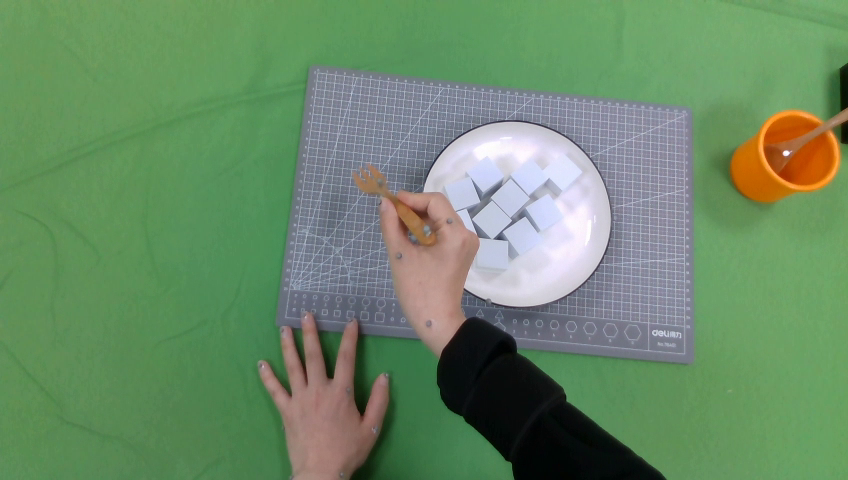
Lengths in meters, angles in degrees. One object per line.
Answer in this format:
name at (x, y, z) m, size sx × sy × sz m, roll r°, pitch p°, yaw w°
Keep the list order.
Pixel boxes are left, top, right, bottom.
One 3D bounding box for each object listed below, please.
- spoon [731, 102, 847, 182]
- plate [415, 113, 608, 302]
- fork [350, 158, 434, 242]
spoon at (0.424, -0.123, 0.648) m, size 0.022 × 0.194 × 0.041 m, roll -9°, pitch 68°, yaw -50°
plate at (0.093, -0.034, 0.659) m, size 0.208 × 0.039 × 0.206 m, roll 1°, pitch 79°, yaw -4°
fork at (-0.033, -0.040, 0.550) m, size 0.028 × 0.205 × 0.019 m, roll -28°, pitch 118°, yaw -9°
